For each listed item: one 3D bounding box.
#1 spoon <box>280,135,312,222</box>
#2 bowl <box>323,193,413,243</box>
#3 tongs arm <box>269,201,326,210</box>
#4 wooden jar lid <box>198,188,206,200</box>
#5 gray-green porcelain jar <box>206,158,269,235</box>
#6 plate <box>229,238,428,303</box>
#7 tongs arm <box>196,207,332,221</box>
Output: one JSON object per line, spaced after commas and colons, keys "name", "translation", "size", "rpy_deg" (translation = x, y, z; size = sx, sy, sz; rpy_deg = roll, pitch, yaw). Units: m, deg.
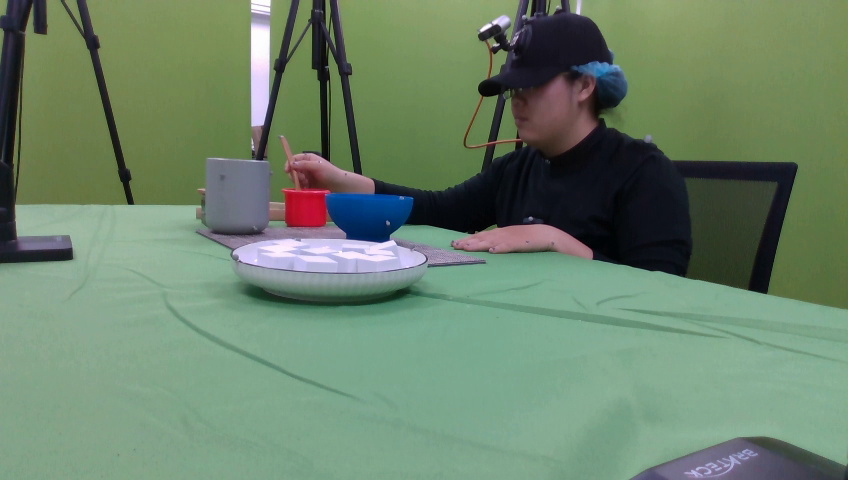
{"name": "spoon", "translation": [-0.265, -0.127, 1.243], "size": [0.021, 0.193, 0.042], "rpy_deg": [-20, -9, 38]}
{"name": "bowl", "translation": [-0.094, -0.037, 1.015], "size": [0.151, 0.077, 0.151], "rpy_deg": [2, 7, 0]}
{"name": "tongs arm", "translation": [-0.308, -0.073, 1.410], "size": [0.386, 0.026, 0.050], "rpy_deg": [3, 8, -6]}
{"name": "wooden jar lid", "translation": [-0.382, -0.088, 1.175], "size": [0.108, 0.020, 0.108], "rpy_deg": [3, 8, 0]}
{"name": "gray-green porcelain jar", "translation": [-0.322, -0.076, 1.048], "size": [0.106, 0.126, 0.106], "rpy_deg": [3, 7, 0]}
{"name": "plate", "translation": [-0.099, 0.032, 0.651], "size": [0.209, 0.038, 0.209], "rpy_deg": [3, 8, 0]}
{"name": "tongs arm", "translation": [-0.294, -0.057, 1.330], "size": [0.389, 0.028, 0.028], "rpy_deg": [0, 6, -20]}
